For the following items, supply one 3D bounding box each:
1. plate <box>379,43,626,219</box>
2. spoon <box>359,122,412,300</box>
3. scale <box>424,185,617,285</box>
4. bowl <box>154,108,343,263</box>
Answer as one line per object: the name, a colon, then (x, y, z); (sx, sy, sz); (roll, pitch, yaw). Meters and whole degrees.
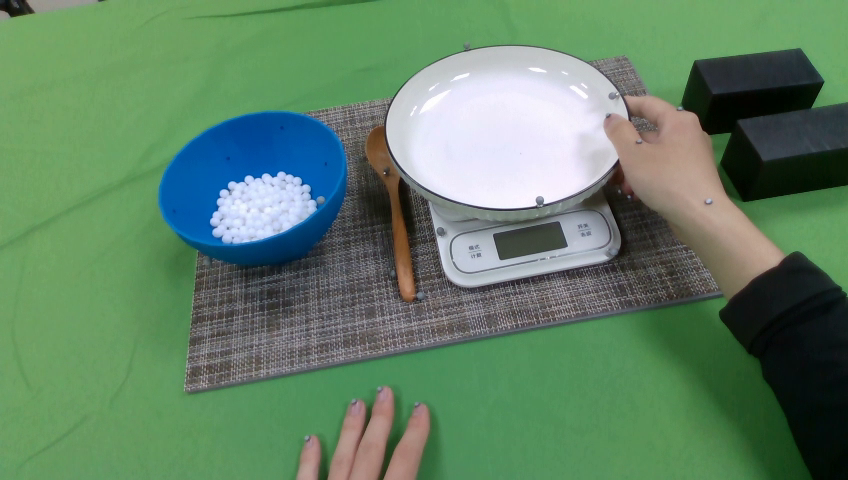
plate: (0.065, -0.095, 0.526); (0.209, 0.038, 0.207); (-2, 53, 3)
spoon: (-0.031, -0.032, 0.535); (0.042, 0.022, 0.191); (-2, 52, -12)
scale: (0.072, -0.057, 0.538); (0.149, 0.032, 0.198); (-11, 53, -2)
bowl: (-0.136, -0.033, 0.512); (0.151, 0.077, 0.150); (-3, 53, 4)
